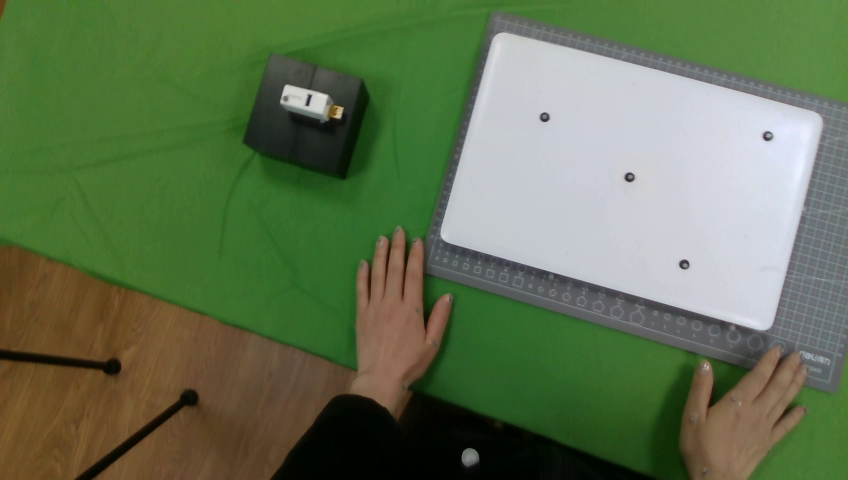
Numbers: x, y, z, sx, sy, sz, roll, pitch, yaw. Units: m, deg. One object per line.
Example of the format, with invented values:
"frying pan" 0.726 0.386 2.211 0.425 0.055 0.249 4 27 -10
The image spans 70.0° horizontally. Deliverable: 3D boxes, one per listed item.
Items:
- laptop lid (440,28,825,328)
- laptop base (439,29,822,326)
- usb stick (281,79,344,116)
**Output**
"laptop lid" 0.213 -0.067 0.628 0.356 0.013 0.241 17 89 3
"laptop base" 0.214 -0.068 0.640 0.354 0.023 0.235 16 90 3
"usb stick" -0.110 -0.140 0.604 0.059 0.027 0.021 17 85 1
